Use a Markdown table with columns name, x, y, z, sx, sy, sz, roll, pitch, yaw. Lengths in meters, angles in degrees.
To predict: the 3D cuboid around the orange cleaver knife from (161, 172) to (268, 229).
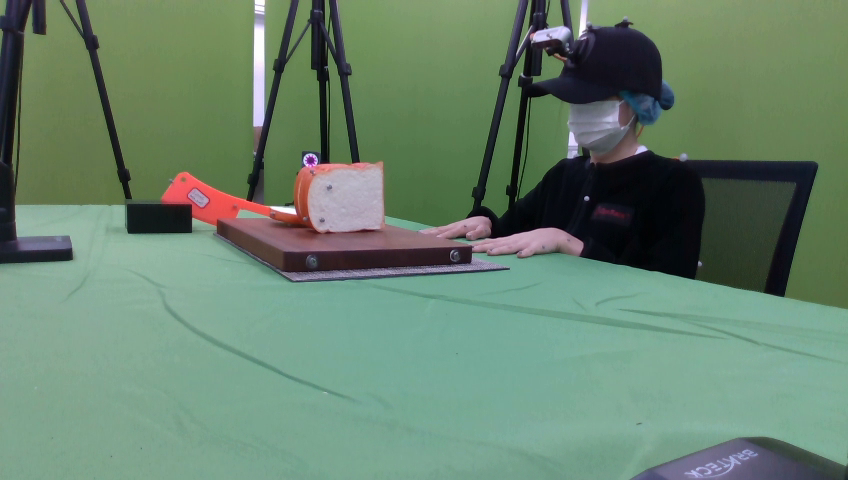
| name | x | y | z | sx | sy | sz | roll | pitch | yaw |
| --- | --- | --- | --- | --- | --- | --- | --- | --- | --- |
| orange cleaver knife | -0.372 | -0.061 | 1.121 | 0.212 | 0.077 | 0.012 | 20 | -5 | -30 |

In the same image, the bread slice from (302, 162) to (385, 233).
| name | x | y | z | sx | sy | sz | roll | pitch | yaw |
| --- | --- | --- | --- | --- | --- | --- | --- | --- | --- |
| bread slice | -0.120 | -0.059 | 0.918 | 0.135 | 0.107 | 0.018 | -12 | 15 | -34 |

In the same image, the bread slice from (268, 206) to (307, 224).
| name | x | y | z | sx | sy | sz | roll | pitch | yaw |
| --- | --- | --- | --- | --- | --- | --- | --- | --- | --- |
| bread slice | -0.195 | -0.040 | 1.015 | 0.132 | 0.019 | 0.104 | 2 | 8 | -37 |
